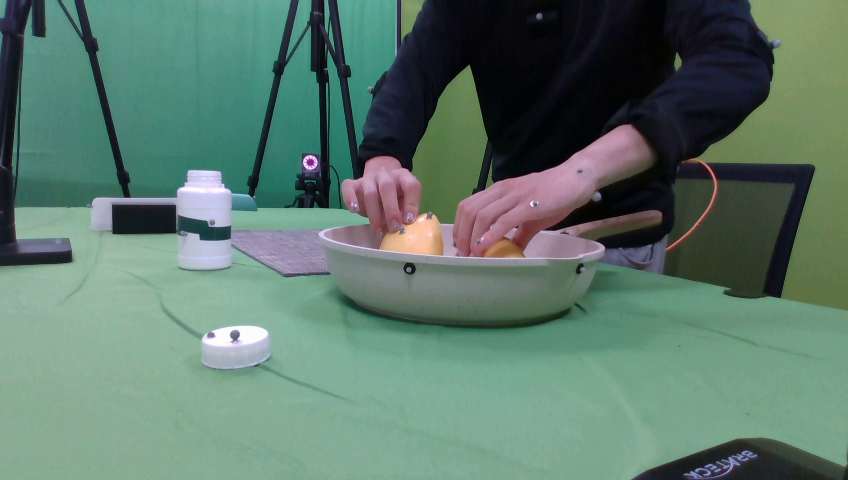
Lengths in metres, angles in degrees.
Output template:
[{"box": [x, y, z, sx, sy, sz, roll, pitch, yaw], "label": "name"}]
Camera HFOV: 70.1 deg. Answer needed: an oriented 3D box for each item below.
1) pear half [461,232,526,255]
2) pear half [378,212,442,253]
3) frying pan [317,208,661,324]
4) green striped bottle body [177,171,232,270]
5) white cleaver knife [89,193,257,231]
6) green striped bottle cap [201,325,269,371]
[{"box": [0.071, 0.016, 0.648, 0.077, 0.056, 0.109, 13, 14, -29], "label": "pear half"}, {"box": [-0.016, 0.003, 0.646, 0.070, 0.088, 0.031, 25, -14, 15], "label": "pear half"}, {"box": [0.121, 0.005, 0.691, 0.490, 0.102, 0.305, -12, 15, -33], "label": "frying pan"}, {"box": [-0.273, -0.026, 0.752, 0.063, 0.119, 0.063, 2, 7, 0], "label": "green striped bottle body"}, {"box": [-0.454, -0.052, 1.115, 0.288, 0.066, 0.021, -4, 14, -27], "label": "white cleaver knife"}, {"box": [-0.129, 0.073, 0.415, 0.044, 0.020, 0.044, 2, 8, 0], "label": "green striped bottle cap"}]
